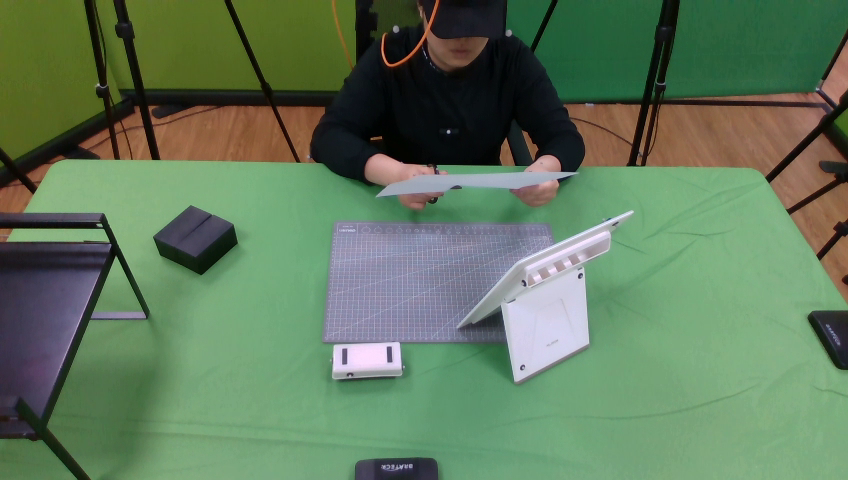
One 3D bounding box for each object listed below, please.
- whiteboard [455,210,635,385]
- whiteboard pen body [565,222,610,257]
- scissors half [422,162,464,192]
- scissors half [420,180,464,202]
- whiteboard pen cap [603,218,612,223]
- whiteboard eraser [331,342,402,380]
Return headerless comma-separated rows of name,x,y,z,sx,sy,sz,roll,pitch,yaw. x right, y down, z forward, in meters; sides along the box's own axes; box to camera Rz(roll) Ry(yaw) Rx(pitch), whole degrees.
whiteboard,0.211,0.111,0.955,0.217,0.306,0.143,-21,71,-23
whiteboard pen body,0.335,-0.004,1.228,0.141,0.017,0.017,-33,56,-28
scissors half,0.037,-0.117,1.165,0.013,0.040,0.174,4,19,-27
scissors half,0.034,-0.096,1.169,0.013,0.174,0.040,-2,90,-26
whiteboard pen cap,0.379,-0.031,1.255,0.033,0.018,0.018,-33,56,-30
whiteboard eraser,-0.094,0.198,0.986,0.113,0.042,0.055,-2,44,-6
